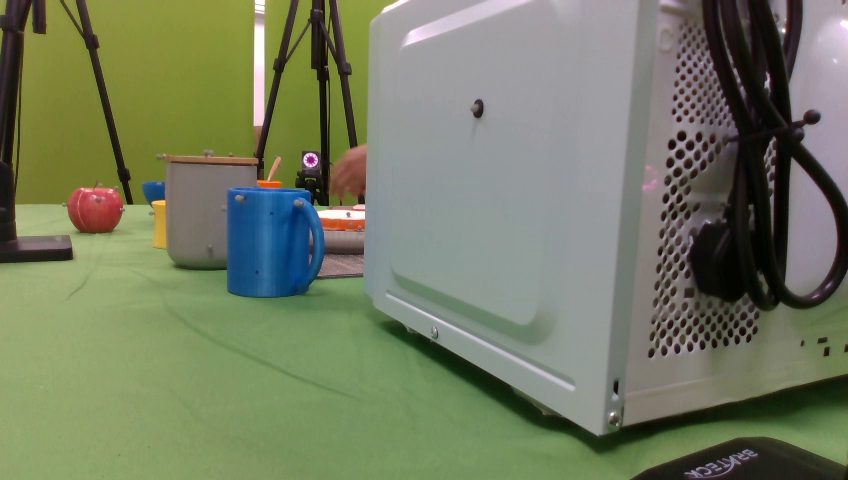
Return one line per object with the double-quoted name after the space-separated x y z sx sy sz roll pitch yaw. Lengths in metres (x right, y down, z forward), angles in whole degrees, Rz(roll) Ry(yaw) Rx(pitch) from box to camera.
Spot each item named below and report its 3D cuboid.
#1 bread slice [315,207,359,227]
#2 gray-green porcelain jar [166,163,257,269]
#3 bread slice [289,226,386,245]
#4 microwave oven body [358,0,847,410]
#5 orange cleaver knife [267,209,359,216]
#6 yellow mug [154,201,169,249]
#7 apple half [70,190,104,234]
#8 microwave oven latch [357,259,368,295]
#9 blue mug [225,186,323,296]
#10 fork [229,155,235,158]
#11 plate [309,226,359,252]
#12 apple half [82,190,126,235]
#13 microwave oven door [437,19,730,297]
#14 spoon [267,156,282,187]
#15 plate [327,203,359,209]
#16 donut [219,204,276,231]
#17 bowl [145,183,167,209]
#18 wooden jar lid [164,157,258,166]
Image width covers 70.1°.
-0.127 -0.035 0.933 0.134 0.018 0.107 4 11 27 "bread slice"
-0.263 -0.031 0.754 0.106 0.126 0.106 2 7 0 "gray-green porcelain jar"
-0.125 -0.008 0.938 0.131 0.019 0.105 4 7 31 "bread slice"
0.210 -0.051 0.471 0.444 0.260 0.324 -1 7 -28 "microwave oven body"
-0.259 -0.064 1.423 0.212 0.012 0.077 -4 3 -30 "orange cleaver knife"
-0.338 -0.022 0.899 0.130 0.064 0.100 8 9 34 "yellow mug"
-0.552 -0.047 1.009 0.053 0.074 0.081 -1 9 26 "apple half"
-0.019 0.031 0.529 0.079 0.029 0.030 -1 7 -26 "microwave oven latch"
-0.148 0.000 0.618 0.116 0.106 0.083 7 9 33 "blue mug"
-0.459 -0.134 1.415 0.028 0.018 0.207 -1 -34 -24 "fork"
-0.130 -0.011 0.945 0.208 0.039 0.207 2 8 0 "plate"
-0.517 -0.046 0.994 0.032 0.081 0.081 0 6 26 "apple half"
0.180 -0.076 0.618 0.358 0.243 0.039 -2 9 -28 "microwave oven door"
-0.391 -0.150 1.547 0.041 0.193 0.021 3 -37 7 "spoon"
-0.102 -0.053 1.299 0.209 0.038 0.209 2 8 0 "plate"
-0.316 -0.039 1.083 0.099 0.048 0.099 2 7 0 "donut"
-0.459 -0.068 1.175 0.151 0.077 0.151 3 7 0 "bowl"
-0.261 -0.093 0.746 0.108 0.020 0.108 0 9 0 "wooden jar lid"
